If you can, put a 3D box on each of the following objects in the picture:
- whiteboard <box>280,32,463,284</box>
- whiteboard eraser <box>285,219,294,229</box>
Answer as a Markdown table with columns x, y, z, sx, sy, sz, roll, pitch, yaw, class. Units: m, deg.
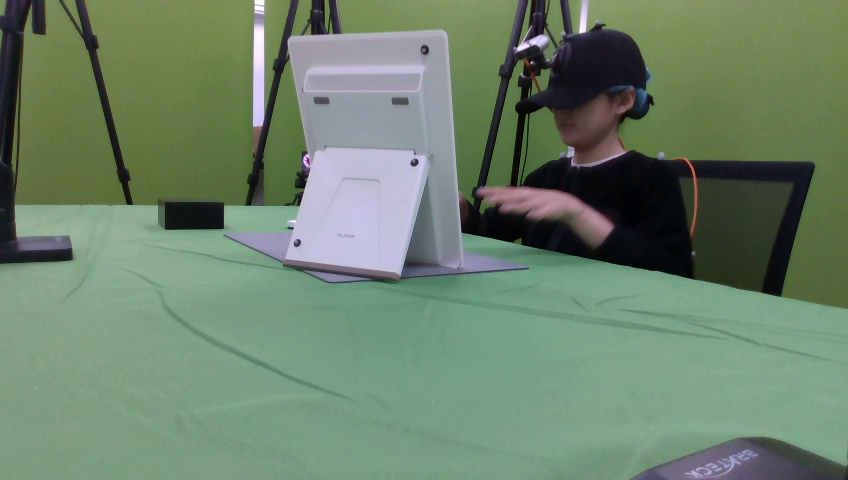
| x | y | z | sx | sy | sz | roll | pitch | yaw | class |
| --- | --- | --- | --- | --- | --- | --- | --- | --- | --- |
| -0.087 | -0.080 | 0.728 | 0.216 | 0.305 | 0.144 | 7 | 28 | 24 | whiteboard |
| -0.227 | -0.032 | 1.203 | 0.102 | 0.019 | 0.041 | 0 | 7 | -33 | whiteboard eraser |
